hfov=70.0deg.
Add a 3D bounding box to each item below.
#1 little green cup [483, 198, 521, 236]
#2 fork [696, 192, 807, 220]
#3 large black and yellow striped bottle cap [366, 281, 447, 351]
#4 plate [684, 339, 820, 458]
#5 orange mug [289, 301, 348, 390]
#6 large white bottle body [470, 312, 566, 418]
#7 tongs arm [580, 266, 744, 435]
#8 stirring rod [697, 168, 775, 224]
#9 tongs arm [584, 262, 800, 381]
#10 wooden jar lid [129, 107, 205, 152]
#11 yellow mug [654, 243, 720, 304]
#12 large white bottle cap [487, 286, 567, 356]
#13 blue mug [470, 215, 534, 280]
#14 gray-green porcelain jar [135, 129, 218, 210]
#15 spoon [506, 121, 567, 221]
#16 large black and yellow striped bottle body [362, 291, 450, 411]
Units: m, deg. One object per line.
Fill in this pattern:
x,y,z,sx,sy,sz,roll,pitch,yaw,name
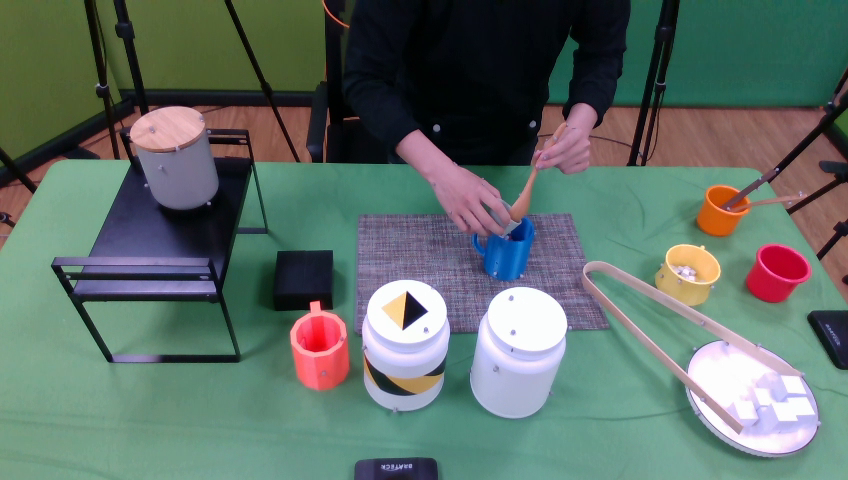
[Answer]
0.132,-0.039,1.042,0.062,0.038,0.061,38,22,-18,little green cup
0.655,-0.069,1.224,0.207,0.019,0.028,-17,33,45,fork
-0.025,0.106,0.866,0.115,0.019,0.114,2,46,-1,large black and yellow striped bottle cap
0.523,0.256,0.982,0.208,0.039,0.206,2,46,-2,plate
-0.170,0.162,0.976,0.083,0.101,0.125,-7,52,-11,orange mug
0.143,0.173,0.930,0.131,0.185,0.130,2,46,-2,large white bottle body
0.384,0.173,1.028,0.028,0.028,0.385,-25,46,-15,tongs arm
0.644,-0.090,1.252,0.176,0.006,0.014,-39,53,16,stirring rod
0.451,0.137,1.064,0.051,0.027,0.382,-34,50,-27,tongs arm
-0.385,-0.163,0.915,0.108,0.021,0.107,2,47,-2,wooden jar lid
0.504,0.054,1.154,0.099,0.064,0.130,28,50,22,yellow mug
0.147,0.115,0.869,0.115,0.018,0.114,3,46,-3,large white bottle cap
0.141,0.005,1.140,0.116,0.106,0.082,20,48,14,blue mug
-0.388,-0.120,0.960,0.106,0.127,0.105,3,46,-2,gray-green porcelain jar
0.184,-0.110,1.006,0.042,0.194,0.021,10,22,-38,spoon
-0.029,0.163,0.928,0.131,0.185,0.130,2,47,-2,large black and yellow striped bottle body
